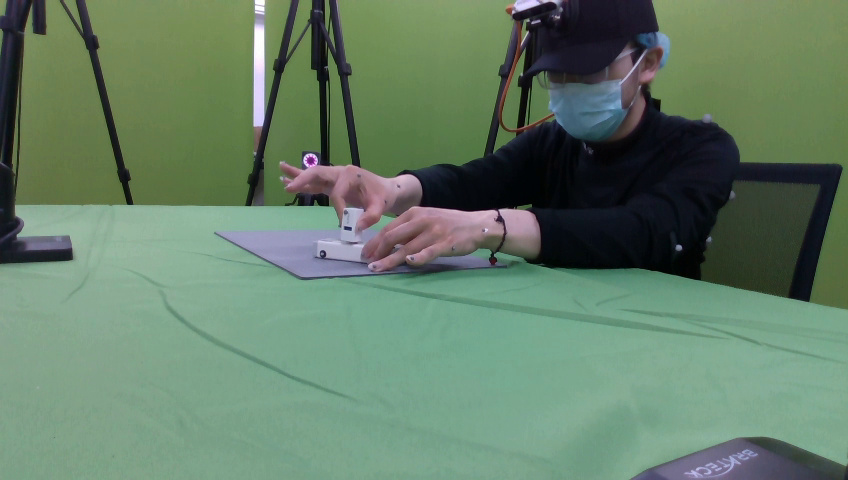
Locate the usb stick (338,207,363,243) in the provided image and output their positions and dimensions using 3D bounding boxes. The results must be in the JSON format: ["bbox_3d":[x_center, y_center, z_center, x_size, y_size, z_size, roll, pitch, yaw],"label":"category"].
[{"bbox_3d":[-0.099,-0.015,0.813,0.021,0.059,0.027,11,13,19],"label":"usb stick"}]

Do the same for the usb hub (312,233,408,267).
[{"bbox_3d":[-0.088,0.012,0.828,0.125,0.025,0.049,7,16,20],"label":"usb hub"}]
